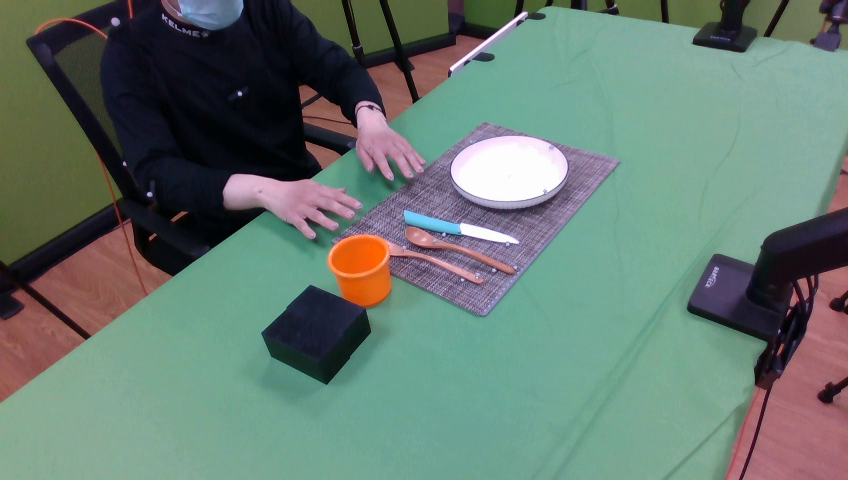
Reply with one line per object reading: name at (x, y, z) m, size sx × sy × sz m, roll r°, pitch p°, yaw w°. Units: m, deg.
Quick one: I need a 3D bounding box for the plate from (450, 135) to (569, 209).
plate at (0.149, -0.117, 1.066) m, size 0.209 × 0.038 × 0.208 m, roll -4°, pitch 41°, yaw 4°

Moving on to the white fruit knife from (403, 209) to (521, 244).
white fruit knife at (0.057, -0.019, 0.981) m, size 0.206 × 0.016 × 0.027 m, roll 13°, pitch 57°, yaw 20°

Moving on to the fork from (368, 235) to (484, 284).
fork at (0.001, 0.030, 0.930) m, size 0.206 × 0.019 × 0.028 m, roll 18°, pitch 38°, yaw 29°

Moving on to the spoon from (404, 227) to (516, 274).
spoon at (0.053, 0.016, 0.936) m, size 0.192 × 0.022 × 0.042 m, roll 18°, pitch 31°, yaw 27°
